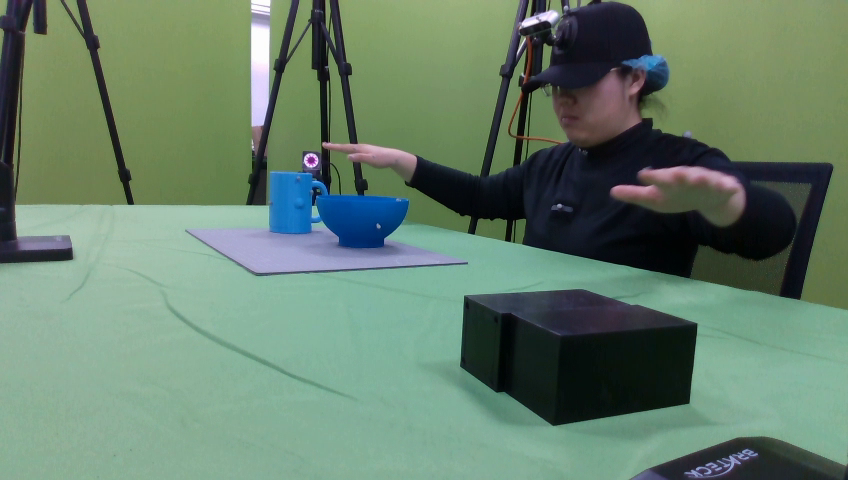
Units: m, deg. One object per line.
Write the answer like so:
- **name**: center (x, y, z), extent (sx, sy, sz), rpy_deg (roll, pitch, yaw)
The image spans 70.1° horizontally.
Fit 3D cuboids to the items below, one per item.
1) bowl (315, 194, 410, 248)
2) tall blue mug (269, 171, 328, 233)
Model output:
- **bowl**: center (-0.099, -0.031, 0.971), extent (0.151, 0.077, 0.151), rpy_deg (2, 7, 0)
- **tall blue mug**: center (-0.236, -0.071, 1.118), extent (0.077, 0.108, 0.107), rpy_deg (5, 8, 25)
